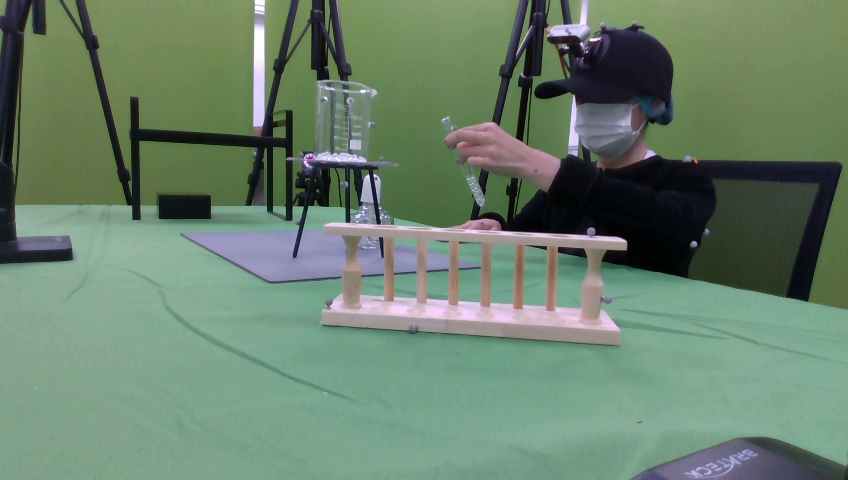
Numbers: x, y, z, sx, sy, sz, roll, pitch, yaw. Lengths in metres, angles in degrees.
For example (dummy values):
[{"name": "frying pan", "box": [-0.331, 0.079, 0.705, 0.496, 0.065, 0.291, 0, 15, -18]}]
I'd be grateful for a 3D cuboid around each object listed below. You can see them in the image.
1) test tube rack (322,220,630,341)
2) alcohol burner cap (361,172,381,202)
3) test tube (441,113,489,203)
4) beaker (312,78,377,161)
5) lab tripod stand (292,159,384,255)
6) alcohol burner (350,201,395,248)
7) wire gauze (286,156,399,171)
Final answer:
[{"name": "test tube rack", "box": [0.041, 0.029, 0.512, 0.242, 0.085, 0.067, 3, 7, 5]}, {"name": "alcohol burner cap", "box": [-0.081, -0.084, 0.949, 0.034, 0.048, 0.034, 7, 7, -1]}, {"name": "test tube", "box": [0.064, -0.125, 0.931, 0.017, 0.150, 0.017, -25, 8, 4]}, {"name": "beaker", "box": [-0.103, -0.151, 0.775, 0.084, 0.100, 0.074, 5, 7, 14]}, {"name": "lab tripod stand", "box": [-0.105, -0.039, 0.797, 0.148, 0.131, 0.148, 2, 5, 0]}, {"name": "alcohol burner", "box": [-0.084, -0.048, 0.953, 0.078, 0.119, 0.078, 1, 6, 0]}, {"name": "wire gauze", "box": [-0.101, -0.103, 0.788, 0.121, 0.011, 0.125, 5, 4, 6]}]
